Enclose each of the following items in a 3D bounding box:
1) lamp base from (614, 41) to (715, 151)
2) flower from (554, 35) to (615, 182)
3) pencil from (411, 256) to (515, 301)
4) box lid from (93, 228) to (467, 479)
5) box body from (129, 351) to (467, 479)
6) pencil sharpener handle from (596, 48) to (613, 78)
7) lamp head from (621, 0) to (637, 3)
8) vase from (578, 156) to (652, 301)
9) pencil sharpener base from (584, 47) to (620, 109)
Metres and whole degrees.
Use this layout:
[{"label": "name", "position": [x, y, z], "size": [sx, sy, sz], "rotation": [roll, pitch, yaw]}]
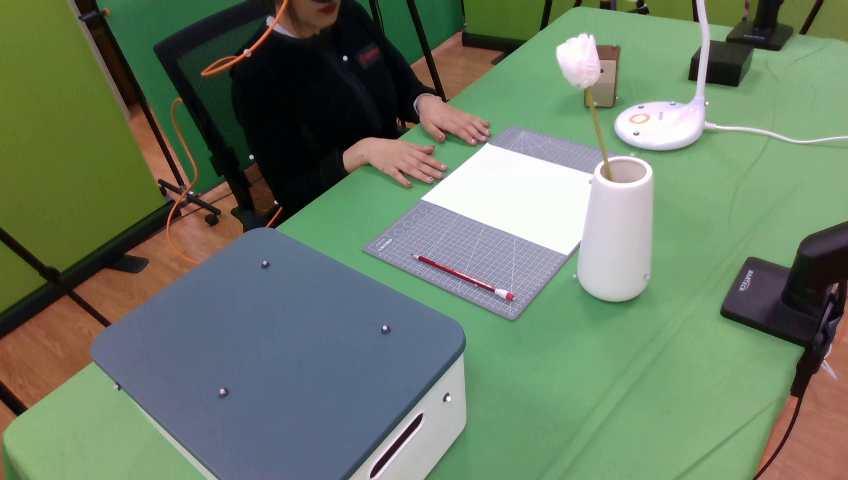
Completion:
[{"label": "lamp base", "position": [0.449, -0.277, 1.106], "size": [0.179, 0.181, 0.160], "rotation": [1, 41, 9]}, {"label": "flower", "position": [0.237, -0.083, 0.774], "size": [0.044, 0.363, 0.038], "rotation": [-22, 26, 7]}, {"label": "pencil", "position": [0.054, 0.054, 0.918], "size": [0.192, 0.012, 0.012], "rotation": [21, 48, 33]}, {"label": "box lid", "position": [-0.167, 0.110, 0.661], "size": [0.368, 0.015, 0.264], "rotation": [23, 49, 34]}, {"label": "box body", "position": [-0.155, 0.169, 0.707], "size": [0.361, 0.161, 0.255], "rotation": [23, 49, 33]}, {"label": "pencil sharpener handle", "position": [0.383, -0.378, 1.276], "size": [0.036, 0.068, 0.030], "rotation": [2, 41, 22]}, {"label": "lamp head", "position": [0.319, -0.453, 0.962], "size": [0.113, 0.123, 0.112], "rotation": [20, 33, -13]}, {"label": "vase", "position": [0.261, -0.011, 0.812], "size": [0.098, 0.201, 0.097], "rotation": [-4, 40, 4]}, {"label": "pencil sharpener base", "position": [0.367, -0.336, 1.248], "size": [0.061, 0.107, 0.076], "rotation": [6, 42, 19]}]
